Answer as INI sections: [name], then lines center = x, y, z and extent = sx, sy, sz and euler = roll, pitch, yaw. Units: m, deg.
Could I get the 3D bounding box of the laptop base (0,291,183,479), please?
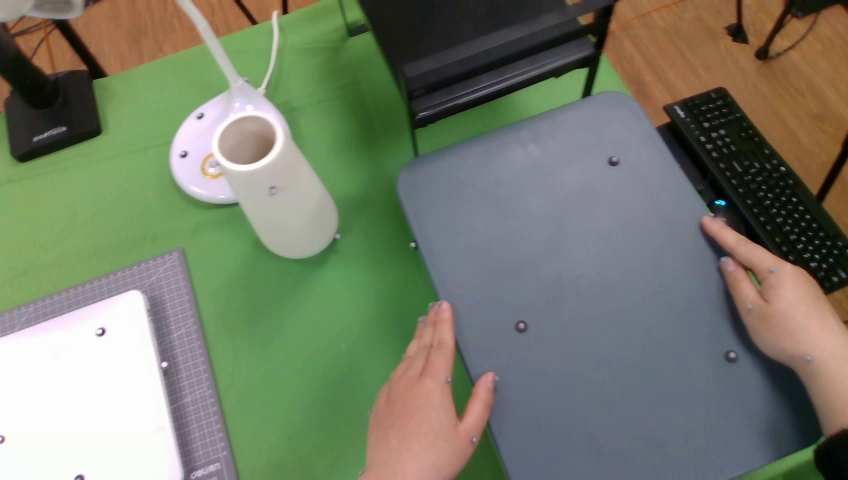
[laptop base]
center = -0.453, 0.219, 0.661
extent = 0.354, 0.023, 0.233
euler = -21, 70, -6

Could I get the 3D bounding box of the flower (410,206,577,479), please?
[flower]
center = 0.082, 0.119, 0.636
extent = 0.044, 0.038, 0.359
euler = -12, 68, -50

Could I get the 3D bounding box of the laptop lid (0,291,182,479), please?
[laptop lid]
center = -0.453, 0.216, 0.650
extent = 0.357, 0.013, 0.239
euler = -20, 69, -5

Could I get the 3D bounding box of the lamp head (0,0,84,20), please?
[lamp head]
center = -0.298, -0.233, 0.435
extent = 0.112, 0.113, 0.122
euler = 7, 84, 8

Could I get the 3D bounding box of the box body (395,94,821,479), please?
[box body]
center = 0.150, 0.070, 0.607
extent = 0.254, 0.161, 0.361
euler = -20, 66, -5

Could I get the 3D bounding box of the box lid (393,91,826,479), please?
[box lid]
center = 0.144, 0.037, 0.540
extent = 0.263, 0.015, 0.368
euler = -20, 66, -5

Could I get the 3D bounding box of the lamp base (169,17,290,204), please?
[lamp base]
center = -0.257, -0.162, 0.728
extent = 0.160, 0.181, 0.178
euler = 10, 64, 9

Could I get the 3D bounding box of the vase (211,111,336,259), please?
[vase]
center = -0.162, -0.055, 0.664
extent = 0.098, 0.201, 0.097
euler = -2, 65, 5

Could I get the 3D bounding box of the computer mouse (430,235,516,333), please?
[computer mouse]
center = 0.053, 0.046, 0.685
extent = 0.063, 0.041, 0.116
euler = -26, 59, -3
